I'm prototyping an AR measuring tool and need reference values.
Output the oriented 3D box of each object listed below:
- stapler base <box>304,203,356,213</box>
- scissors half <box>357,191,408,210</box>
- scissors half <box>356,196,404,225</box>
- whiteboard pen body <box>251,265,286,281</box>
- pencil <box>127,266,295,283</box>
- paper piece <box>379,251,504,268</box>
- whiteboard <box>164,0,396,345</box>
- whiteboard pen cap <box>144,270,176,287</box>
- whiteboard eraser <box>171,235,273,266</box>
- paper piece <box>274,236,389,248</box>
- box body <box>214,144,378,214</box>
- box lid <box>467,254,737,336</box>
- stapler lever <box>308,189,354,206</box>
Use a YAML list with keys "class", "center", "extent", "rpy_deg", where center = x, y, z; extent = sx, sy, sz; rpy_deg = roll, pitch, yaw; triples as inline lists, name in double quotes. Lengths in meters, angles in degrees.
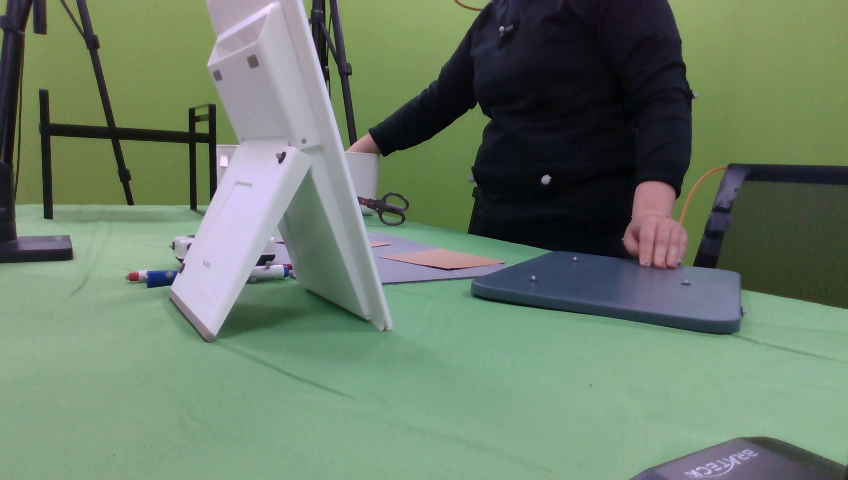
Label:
- class: "stapler base"
  center: [-0.234, -0.080, 1.511]
  extent: [0.131, 0.024, 0.041]
  rpy_deg: [-1, 11, -36]
- class: "scissors half"
  center: [-0.123, -0.092, 1.318]
  extent: [0.175, 0.040, 0.013]
  rpy_deg: [6, 11, -3]
- class: "scissors half"
  center: [-0.127, -0.072, 1.321]
  extent: [0.175, 0.040, 0.013]
  rpy_deg: [22, 4, -5]
- class: "whiteboard pen body"
  center: [-0.220, 0.039, 0.656]
  extent: [0.141, 0.017, 0.017]
  rpy_deg: [-2, 9, -30]
- class: "pencil"
  center: [-0.231, 0.037, 0.691]
  extent: [0.195, 0.012, 0.012]
  rpy_deg: [-2, 9, -34]
- class: "paper piece"
  center: [0.026, 0.027, 0.865]
  extent: [0.134, 0.004, 0.136]
  rpy_deg: [8, 8, 43]
- class: "whiteboard"
  center: [-0.173, -0.053, 0.511]
  extent: [0.144, 0.305, 0.216]
  rpy_deg: [-23, 19, -26]
- class: "whiteboard pen cap"
  center: [-0.271, 0.039, 0.627]
  extent: [0.033, 0.018, 0.018]
  rpy_deg: [-3, 9, -32]
- class: "whiteboard eraser"
  center: [-0.248, 0.014, 0.747]
  extent: [0.113, 0.042, 0.055]
  rpy_deg: [-1, 10, -32]
- class: "paper piece"
  center: [-0.151, 0.003, 0.978]
  extent: [0.135, 0.008, 0.139]
  rpy_deg: [13, 10, 35]
- class: "box body"
  center: [-0.328, -0.154, 1.543]
  extent: [0.366, 0.160, 0.253]
  rpy_deg: [-2, 9, -32]
- class: "box lid"
  center: [0.234, 0.055, 0.735]
  extent: [0.262, 0.015, 0.373]
  rpy_deg: [7, 7, 27]
- class: "stapler lever"
  center: [-0.231, -0.106, 1.509]
  extent: [0.119, 0.040, 0.026]
  rpy_deg: [-1, 11, -36]
